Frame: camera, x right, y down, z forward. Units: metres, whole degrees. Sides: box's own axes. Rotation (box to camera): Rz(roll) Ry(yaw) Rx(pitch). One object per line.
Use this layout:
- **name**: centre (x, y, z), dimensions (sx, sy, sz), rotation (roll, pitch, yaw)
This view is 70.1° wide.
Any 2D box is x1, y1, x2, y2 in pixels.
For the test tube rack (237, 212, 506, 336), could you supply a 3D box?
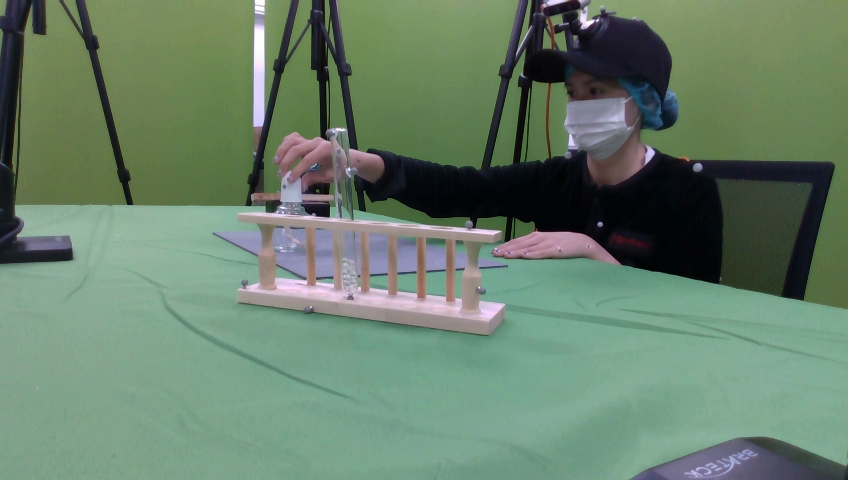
- **test tube rack**: centre (-0.049, 0.024, 0.552), dimensions (0.242, 0.085, 0.067), rotation (5, 8, 18)

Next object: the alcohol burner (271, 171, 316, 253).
- **alcohol burner**: centre (-0.196, -0.041, 0.884), dimensions (0.078, 0.119, 0.078), rotation (3, 5, 0)

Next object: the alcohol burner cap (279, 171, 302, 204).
- **alcohol burner cap**: centre (-0.195, -0.077, 0.881), dimensions (0.034, 0.048, 0.034), rotation (1, 6, 0)

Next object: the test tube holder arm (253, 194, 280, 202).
- **test tube holder arm**: centre (-0.297, -0.084, 1.202), dimensions (0.088, 0.015, 0.010), rotation (-2, 4, -41)

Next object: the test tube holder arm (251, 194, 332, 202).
- **test tube holder arm**: centre (-0.267, -0.085, 1.236), dimensions (0.179, 0.015, 0.013), rotation (-3, 4, -42)

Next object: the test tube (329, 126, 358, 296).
- **test tube**: centre (-0.071, -0.025, 0.535), dimensions (0.017, 0.150, 0.017), rotation (-3, 8, 1)
